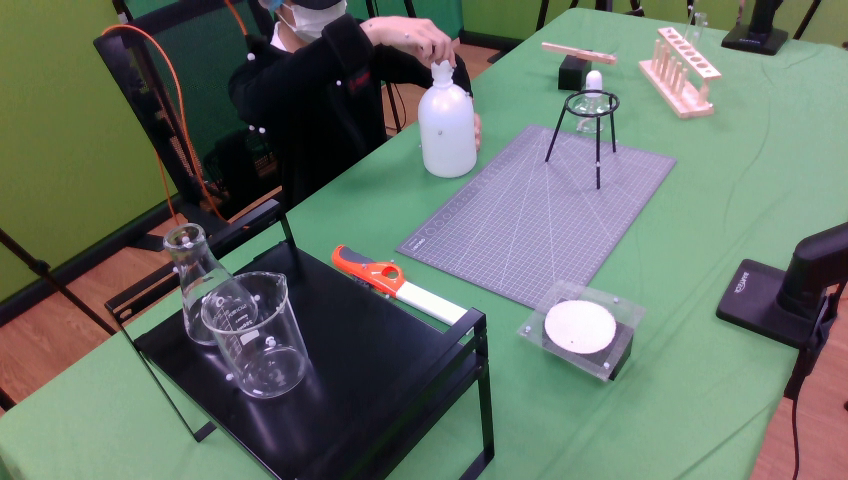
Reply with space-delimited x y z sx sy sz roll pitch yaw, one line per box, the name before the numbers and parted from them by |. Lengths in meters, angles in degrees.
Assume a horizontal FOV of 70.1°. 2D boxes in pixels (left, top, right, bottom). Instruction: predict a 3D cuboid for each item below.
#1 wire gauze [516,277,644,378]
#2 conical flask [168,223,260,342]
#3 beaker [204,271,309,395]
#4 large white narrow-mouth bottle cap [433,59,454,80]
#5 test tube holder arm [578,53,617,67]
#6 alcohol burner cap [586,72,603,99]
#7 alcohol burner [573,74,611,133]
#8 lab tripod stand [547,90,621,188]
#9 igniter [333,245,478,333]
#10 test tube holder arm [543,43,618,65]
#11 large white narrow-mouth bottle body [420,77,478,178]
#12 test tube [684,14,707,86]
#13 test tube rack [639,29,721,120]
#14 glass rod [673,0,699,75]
wire gauze | 0.197 0.103 0.765 0.124 0.011 0.122 23 50 32
conical flask | -0.219 0.040 0.614 0.075 0.122 0.075 -5 40 4
beaker | -0.149 0.088 0.565 0.073 0.101 0.084 20 47 29
large white narrow-mouth bottle cap | 0.034 -0.292 1.035 0.038 0.024 0.037 -4 40 4
test tube holder arm | 0.376 -0.393 1.314 0.087 0.015 0.010 26 51 32
alcohol burner cap | 0.325 -0.297 1.154 0.034 0.048 0.033 -8 35 6
alcohol burner | 0.330 -0.270 1.176 0.078 0.119 0.077 -4 43 4
lab tripod stand | 0.289 -0.184 1.062 0.148 0.132 0.147 -6 41 6
igniter | -0.038 0.068 0.905 0.274 0.025 0.057 24 60 32
test tube holder arm | 0.345 -0.413 1.340 0.177 0.015 0.013 25 50 31
large white narrow-mouth bottle body | 0.043 -0.217 1.098 0.102 0.195 0.101 -4 40 4
test tube | 0.541 -0.379 1.216 0.017 0.151 0.017 -2 44 2
test tube rack | 0.527 -0.351 1.262 0.067 0.085 0.241 -8 40 1
glass rod | 0.541 -0.427 1.246 0.008 0.200 0.008 0 48 1
